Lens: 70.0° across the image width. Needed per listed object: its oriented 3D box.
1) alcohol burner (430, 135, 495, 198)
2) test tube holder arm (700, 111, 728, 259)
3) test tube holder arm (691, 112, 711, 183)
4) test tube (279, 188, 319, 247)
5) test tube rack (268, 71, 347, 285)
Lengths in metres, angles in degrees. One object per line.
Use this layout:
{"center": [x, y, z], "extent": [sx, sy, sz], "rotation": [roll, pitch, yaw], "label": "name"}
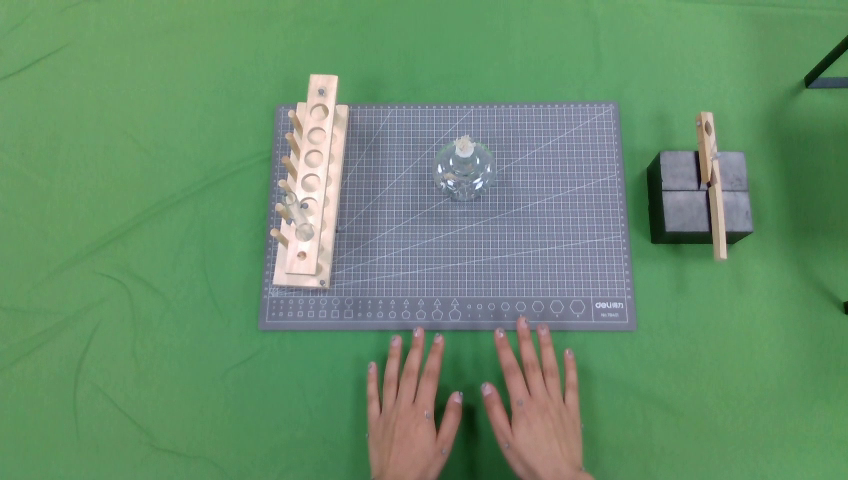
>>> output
{"center": [0.046, -0.094, 0.714], "extent": [0.078, 0.119, 0.077], "rotation": [-1, 76, 2], "label": "alcohol burner"}
{"center": [0.334, -0.066, 0.703], "extent": [0.013, 0.015, 0.177], "rotation": [-2, 75, -4], "label": "test tube holder arm"}
{"center": [0.327, -0.109, 0.714], "extent": [0.010, 0.015, 0.087], "rotation": [0, 75, -3], "label": "test tube holder arm"}
{"center": [-0.134, -0.019, 0.662], "extent": [0.017, 0.151, 0.017], "rotation": [0, 70, 0], "label": "test tube"}
{"center": [-0.143, -0.073, 0.727], "extent": [0.067, 0.085, 0.241], "rotation": [4, 75, 2], "label": "test tube rack"}
